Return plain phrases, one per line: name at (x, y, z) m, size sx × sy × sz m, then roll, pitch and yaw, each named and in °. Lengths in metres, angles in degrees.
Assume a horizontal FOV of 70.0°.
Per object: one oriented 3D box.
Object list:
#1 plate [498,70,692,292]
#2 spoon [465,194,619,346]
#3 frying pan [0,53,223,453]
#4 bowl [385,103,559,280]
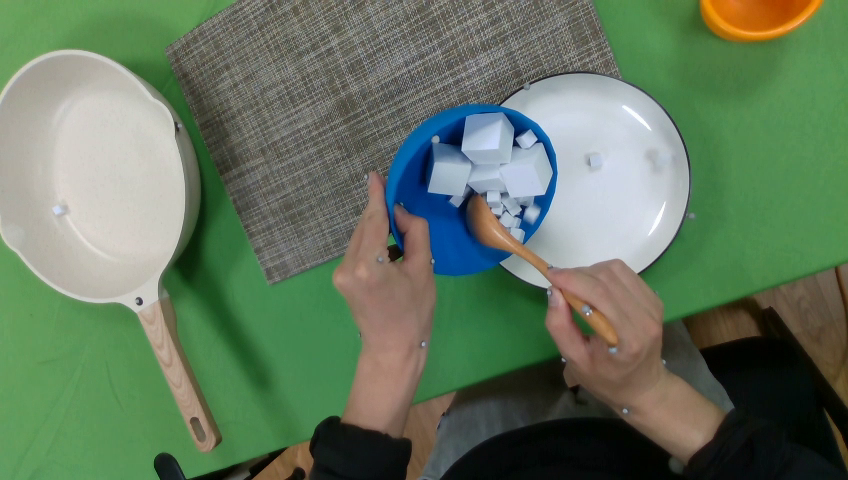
plate at (0.143, -0.054, 0.580) m, size 0.207 × 0.039 × 0.208 m, roll 4°, pitch 104°, yaw 16°
spoon at (0.085, 0.018, 0.473) m, size 0.191 × 0.022 × 0.042 m, roll 43°, pitch 142°, yaw 43°
frying pan at (-0.348, 0.024, 0.718) m, size 0.306 × 0.103 × 0.486 m, roll -27°, pitch 83°, yaw 21°
bowl at (0.029, -0.049, 0.512) m, size 0.152 × 0.076 × 0.152 m, roll -12°, pitch 122°, yaw -20°
